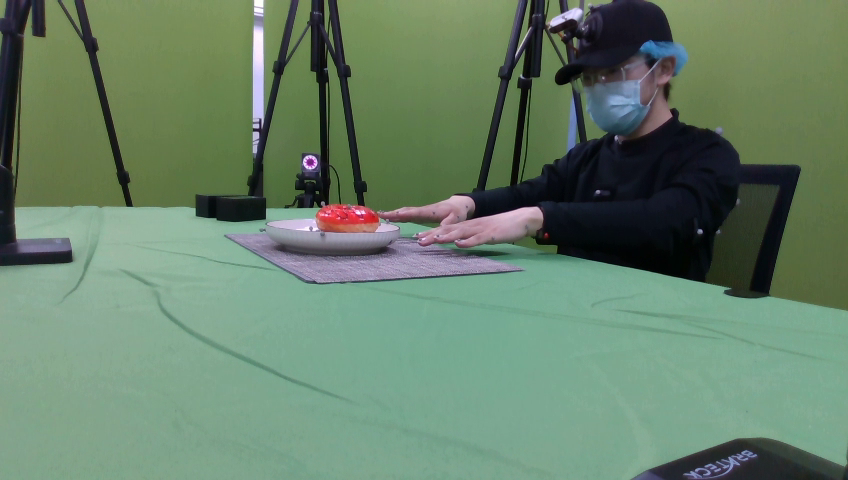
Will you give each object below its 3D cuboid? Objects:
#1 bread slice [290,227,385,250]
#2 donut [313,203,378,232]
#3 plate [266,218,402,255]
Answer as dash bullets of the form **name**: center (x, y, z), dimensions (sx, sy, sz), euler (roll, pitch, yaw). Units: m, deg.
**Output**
- **bread slice**: center (-0.143, -0.004, 0.939), dimensions (0.131, 0.019, 0.105), euler (9, 9, 33)
- **donut**: center (-0.118, -0.030, 0.915), dimensions (0.099, 0.048, 0.099), euler (5, 9, 0)
- **plate**: center (-0.138, -0.006, 0.941), dimensions (0.208, 0.039, 0.207), euler (2, 7, 0)
